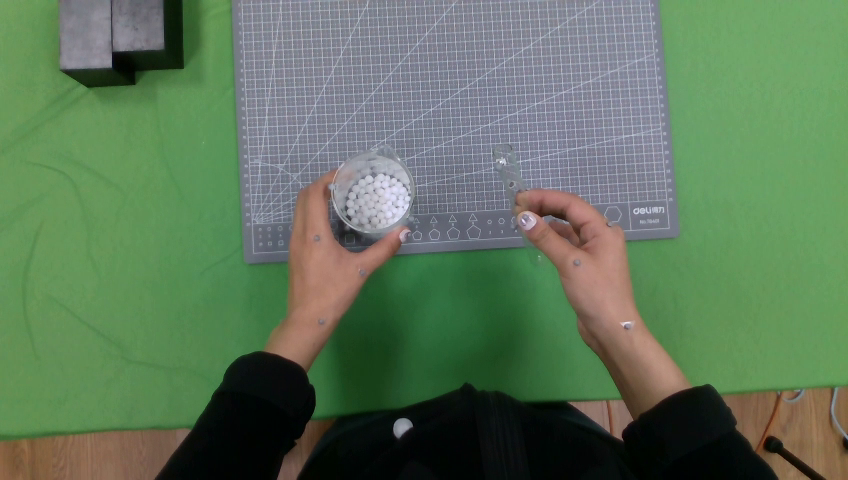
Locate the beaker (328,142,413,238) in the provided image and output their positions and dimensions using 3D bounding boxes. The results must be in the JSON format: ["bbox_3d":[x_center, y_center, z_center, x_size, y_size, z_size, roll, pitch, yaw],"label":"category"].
[{"bbox_3d":[-0.047,-0.043,0.577,0.074,0.100,0.084,15,85,-1],"label":"beaker"}]

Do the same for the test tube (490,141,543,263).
[{"bbox_3d":[0.080,-0.026,0.508,0.017,0.152,0.017,-12,51,15],"label":"test tube"}]
